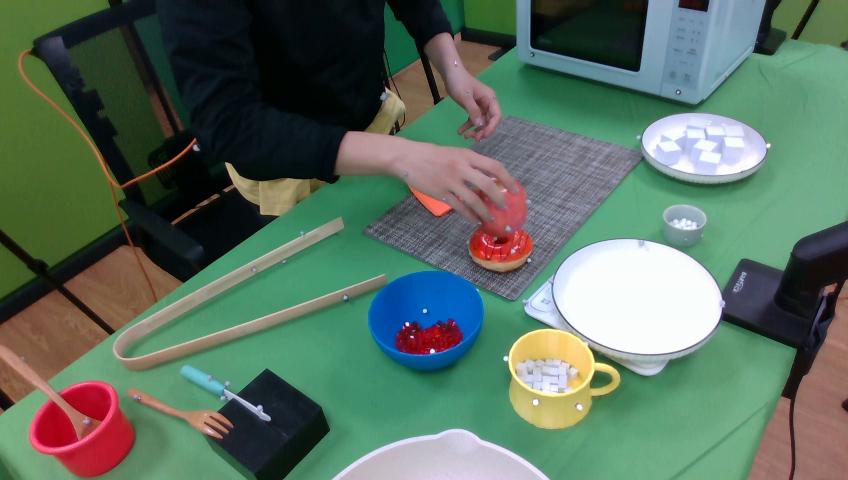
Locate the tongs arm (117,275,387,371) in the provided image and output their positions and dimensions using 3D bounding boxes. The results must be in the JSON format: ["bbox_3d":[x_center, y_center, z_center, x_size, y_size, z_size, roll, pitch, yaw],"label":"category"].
[{"bbox_3d":[-0.237,0.117,0.872,0.389,0.028,0.028,-18,50,-13],"label":"tongs arm"}]

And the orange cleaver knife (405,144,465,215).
[{"bbox_3d":[0.005,-0.113,1.103,0.077,0.012,0.209,-23,45,-10],"label":"orange cleaver knife"}]

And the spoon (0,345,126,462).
[{"bbox_3d":[-0.434,0.192,0.720,0.194,0.021,0.042,47,53,-7],"label":"spoon"}]

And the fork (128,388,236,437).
[{"bbox_3d":[-0.305,0.207,0.744,0.206,0.019,0.028,2,38,35],"label":"fork"}]

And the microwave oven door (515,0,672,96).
[{"bbox_3d":[0.343,-0.455,1.259,0.353,0.245,0.039,26,51,33],"label":"microwave oven door"}]

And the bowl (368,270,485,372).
[{"bbox_3d":[0.007,0.118,0.791,0.151,0.077,0.150,-4,40,4],"label":"bowl"}]

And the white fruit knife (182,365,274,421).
[{"bbox_3d":[-0.245,0.187,0.747,0.205,0.027,0.016,9,41,41],"label":"white fruit knife"}]

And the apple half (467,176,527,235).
[{"bbox_3d":[0.100,-0.040,0.811,0.081,0.075,0.053,-7,33,1],"label":"apple half"}]

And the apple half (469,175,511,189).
[{"bbox_3d":[0.097,-0.060,0.844,0.081,0.081,0.032,-7,32,1],"label":"apple half"}]

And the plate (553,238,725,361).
[{"bbox_3d":[0.273,0.078,0.783,0.209,0.038,0.208,-4,40,4],"label":"plate"}]

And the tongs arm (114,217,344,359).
[{"bbox_3d":[-0.280,0.068,0.927,0.386,0.026,0.050,-29,50,-23],"label":"tongs arm"}]

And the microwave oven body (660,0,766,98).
[{"bbox_3d":[0.472,-0.513,1.317,0.438,0.261,0.327,26,51,34],"label":"microwave oven body"}]

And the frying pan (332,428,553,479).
[{"bbox_3d":[-0.089,0.306,0.564,0.487,0.103,0.306,10,41,7],"label":"frying pan"}]

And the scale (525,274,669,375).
[{"bbox_3d":[0.254,0.091,0.821,0.199,0.032,0.149,28,51,35],"label":"scale"}]

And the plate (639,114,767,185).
[{"bbox_3d":[0.489,-0.157,1.074,0.207,0.039,0.206,-4,40,4],"label":"plate"}]

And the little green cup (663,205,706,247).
[{"bbox_3d":[0.396,-0.020,0.926,0.061,0.039,0.061,-4,40,4],"label":"little green cup"}]

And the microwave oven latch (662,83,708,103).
[{"bbox_3d":[0.517,-0.296,1.204,0.078,0.029,0.030,28,52,35],"label":"microwave oven latch"}]

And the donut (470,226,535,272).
[{"bbox_3d":[0.119,0.009,0.923,0.099,0.048,0.098,-4,38,4],"label":"donut"}]

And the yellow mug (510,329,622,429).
[{"bbox_3d":[0.168,0.164,0.721,0.130,0.064,0.099,0,40,8],"label":"yellow mug"}]
